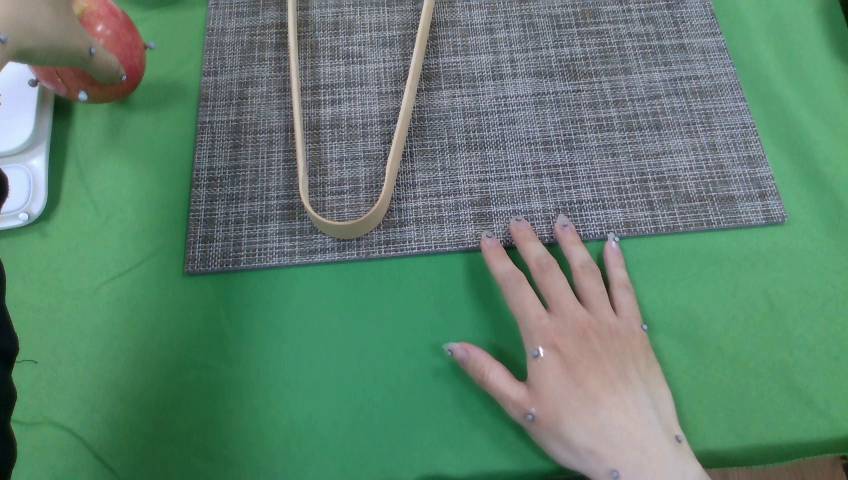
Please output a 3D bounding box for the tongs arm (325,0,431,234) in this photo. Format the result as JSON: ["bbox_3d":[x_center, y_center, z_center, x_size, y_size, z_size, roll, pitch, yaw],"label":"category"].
[{"bbox_3d":[-0.022,-0.182,0.516,0.051,0.027,0.382,6,67,3],"label":"tongs arm"}]

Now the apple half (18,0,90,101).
[{"bbox_3d":[-0.280,-0.139,0.456,0.033,0.082,0.080,-13,66,-5],"label":"apple half"}]

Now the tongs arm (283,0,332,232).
[{"bbox_3d":[-0.107,-0.183,0.520,0.028,0.028,0.384,-6,66,-5],"label":"tongs arm"}]

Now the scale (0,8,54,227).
[{"bbox_3d":[-0.378,-0.097,0.489,0.149,0.032,0.199,-10,67,-3],"label":"scale"}]

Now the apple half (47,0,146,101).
[{"bbox_3d":[-0.243,-0.149,0.461,0.053,0.075,0.080,-13,64,-7],"label":"apple half"}]
